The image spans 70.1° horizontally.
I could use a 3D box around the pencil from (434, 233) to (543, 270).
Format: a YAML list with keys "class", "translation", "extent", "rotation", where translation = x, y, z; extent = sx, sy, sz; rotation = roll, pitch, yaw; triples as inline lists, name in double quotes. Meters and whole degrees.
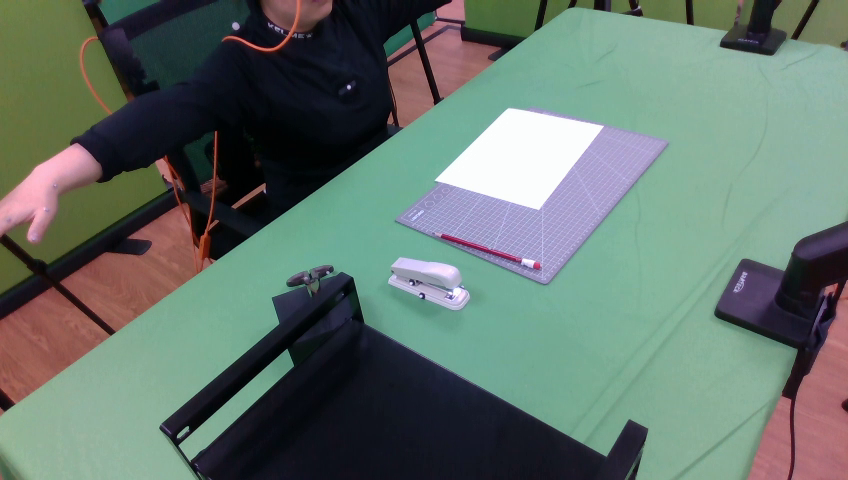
- class: "pencil"
  translation: [0.096, 0.015, 0.949]
  extent: [0.192, 0.012, 0.012]
  rotation: [18, 46, 29]

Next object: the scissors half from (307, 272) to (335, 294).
- class: "scissors half"
  translation: [-0.152, 0.062, 0.872]
  extent: [0.040, 0.013, 0.175]
  rotation: [-2, 5, -4]

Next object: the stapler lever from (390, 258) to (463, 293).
- class: "stapler lever"
  translation: [0.002, 0.046, 0.881]
  extent: [0.117, 0.040, 0.027]
  rotation: [17, 44, 29]

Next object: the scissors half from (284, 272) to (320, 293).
- class: "scissors half"
  translation: [-0.171, 0.063, 0.868]
  extent: [0.040, 0.013, 0.174]
  rotation: [-9, 7, -22]

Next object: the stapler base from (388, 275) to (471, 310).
- class: "stapler base"
  translation: [0.007, 0.066, 0.897]
  extent: [0.129, 0.024, 0.041]
  rotation: [17, 44, 29]
